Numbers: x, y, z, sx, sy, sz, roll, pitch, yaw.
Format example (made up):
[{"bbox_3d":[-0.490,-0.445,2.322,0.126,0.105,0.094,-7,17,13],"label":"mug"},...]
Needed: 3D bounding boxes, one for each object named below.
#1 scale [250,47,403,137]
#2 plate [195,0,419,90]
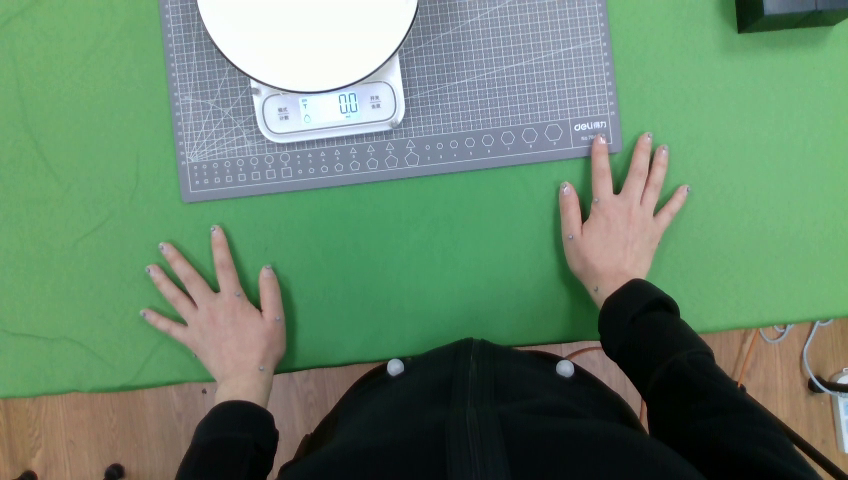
[{"bbox_3d":[-0.104,-0.209,0.600,0.149,0.031,0.201,-7,91,0],"label":"scale"},{"bbox_3d":[-0.107,-0.241,0.567,0.209,0.038,0.209,0,90,-1],"label":"plate"}]
